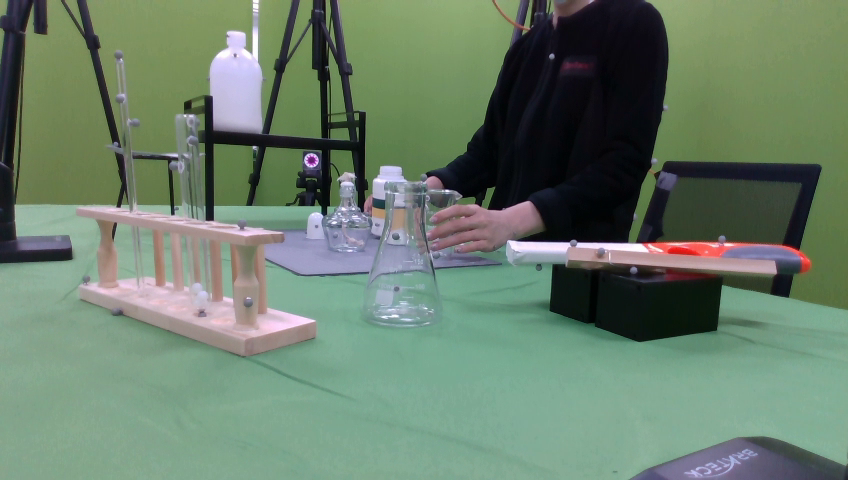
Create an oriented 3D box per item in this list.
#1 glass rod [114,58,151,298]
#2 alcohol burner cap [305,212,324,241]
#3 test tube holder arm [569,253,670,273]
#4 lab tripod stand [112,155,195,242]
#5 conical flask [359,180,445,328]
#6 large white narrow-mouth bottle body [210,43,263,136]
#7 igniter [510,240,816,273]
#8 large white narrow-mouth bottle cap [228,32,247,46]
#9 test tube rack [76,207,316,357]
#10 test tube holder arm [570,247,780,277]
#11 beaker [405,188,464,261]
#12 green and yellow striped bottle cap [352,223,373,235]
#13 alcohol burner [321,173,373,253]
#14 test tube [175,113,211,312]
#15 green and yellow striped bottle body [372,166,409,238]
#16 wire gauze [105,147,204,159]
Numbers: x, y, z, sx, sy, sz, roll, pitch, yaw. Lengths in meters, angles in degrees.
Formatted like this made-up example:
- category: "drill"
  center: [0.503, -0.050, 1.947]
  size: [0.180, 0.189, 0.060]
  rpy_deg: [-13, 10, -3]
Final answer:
- category: "glass rod"
  center: [-0.236, -0.044, 0.492]
  size: [0.008, 0.199, 0.008]
  rpy_deg: [0, 15, 0]
- category: "alcohol burner cap"
  center: [-0.185, -0.023, 1.027]
  size: [0.034, 0.048, 0.034]
  rpy_deg: [2, 7, 0]
- category: "test tube holder arm"
  center: [0.172, 0.019, 0.532]
  size: [0.088, 0.015, 0.010]
  rpy_deg: [3, -23, 3]
- category: "lab tripod stand"
  center: [-0.405, -0.064, 0.931]
  size: [0.148, 0.131, 0.148]
  rpy_deg: [1, 6, 0]
- category: "conical flask"
  center: [-0.017, 0.010, 0.522]
  size: [0.075, 0.122, 0.075]
  rpy_deg: [2, 7, 0]
- category: "large white narrow-mouth bottle body"
  center: [-0.369, -0.305, 1.194]
  size: [0.102, 0.194, 0.102]
  rpy_deg: [3, 8, 0]
- category: "igniter"
  center: [0.220, 0.015, 0.565]
  size: [0.277, 0.025, 0.057]
  rpy_deg: [2, 16, 0]
- category: "large white narrow-mouth bottle cap"
  center: [-0.364, -0.391, 1.180]
  size: [0.038, 0.024, 0.037]
  rpy_deg: [3, 8, 0]
- category: "test tube rack"
  center: [-0.196, 0.023, 0.500]
  size: [0.241, 0.085, 0.067]
  rpy_deg: [8, 9, 36]
- category: "test tube holder arm"
  center: [0.217, 0.019, 0.525]
  size: [0.178, 0.015, 0.013]
  rpy_deg: [3, -23, 3]
- category: "beaker"
  center: [0.013, -0.023, 0.870]
  size: [0.084, 0.100, 0.074]
  rpy_deg: [2, 8, -4]
- category: "green and yellow striped bottle cap"
  center: [-0.113, -0.020, 1.140]
  size: [0.045, 0.020, 0.045]
  rpy_deg: [3, 5, 0]
- category: "alcohol burner"
  center: [-0.115, -0.041, 0.905]
  size: [0.078, 0.119, 0.078]
  rpy_deg: [1, 6, 0]
- category: "test tube"
  center: [-0.174, -0.020, 0.458]
  size: [0.017, 0.150, 0.017]
  rpy_deg: [-3, 5, 1]
- category: "green and yellow striped bottle body"
  center: [-0.059, -0.068, 1.058]
  size: [0.063, 0.119, 0.063]
  rpy_deg: [3, 12, 0]
- category: "wire gauze"
  center: [-0.407, -0.131, 0.928]
  size: [0.125, 0.011, 0.121]
  rpy_deg: [2, 6, -11]
